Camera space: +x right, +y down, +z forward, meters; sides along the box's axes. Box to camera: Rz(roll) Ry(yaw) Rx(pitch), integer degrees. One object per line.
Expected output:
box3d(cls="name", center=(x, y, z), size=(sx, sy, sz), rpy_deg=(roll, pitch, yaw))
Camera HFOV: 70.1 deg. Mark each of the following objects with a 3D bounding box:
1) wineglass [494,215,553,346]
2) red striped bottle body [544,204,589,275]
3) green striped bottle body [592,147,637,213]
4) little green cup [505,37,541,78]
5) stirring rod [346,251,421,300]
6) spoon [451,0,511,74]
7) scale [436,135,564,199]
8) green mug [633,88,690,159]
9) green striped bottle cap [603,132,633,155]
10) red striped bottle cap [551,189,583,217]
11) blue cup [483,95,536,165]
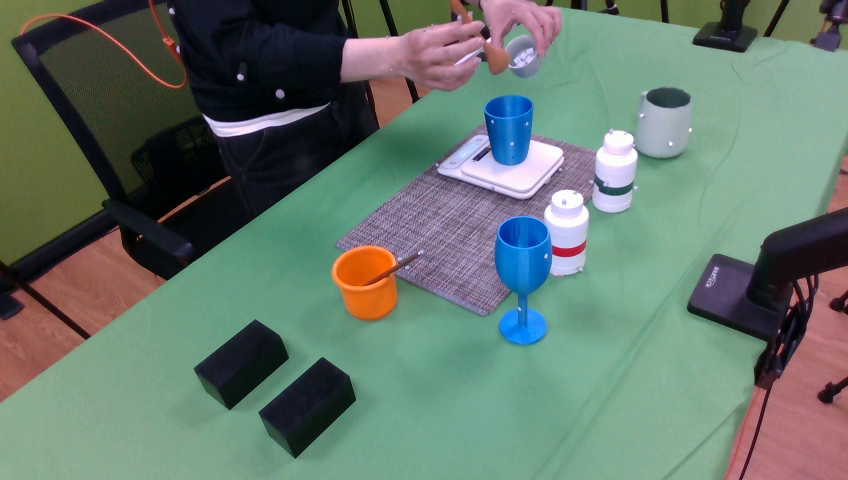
box3d(cls="wineglass", center=(0.127, 0.055, 0.770), size=(0.074, 0.173, 0.073), rpy_deg=(-4, 40, 4))
box3d(cls="red striped bottle body", center=(0.206, -0.011, 0.877), size=(0.063, 0.120, 0.062), rpy_deg=(-5, 41, 4))
box3d(cls="green striped bottle body", center=(0.307, -0.107, 0.976), size=(0.063, 0.120, 0.063), rpy_deg=(-5, 41, 4))
box3d(cls="little green cup", center=(0.165, -0.302, 1.009), size=(0.061, 0.039, 0.061), rpy_deg=(-9, 69, 26))
box3d(cls="stirring rod", center=(-0.059, 0.051, 0.829), size=(0.175, 0.006, 0.014), rpy_deg=(-32, 18, 44))
box3d(cls="spoon", center=(0.083, -0.298, 0.889), size=(0.041, 0.195, 0.021), rpy_deg=(-45, 56, 13))
box3d(cls="scale", center=(0.137, -0.142, 1.101), size=(0.199, 0.032, 0.149), rpy_deg=(22, 48, 30))
box3d(cls="green mug", center=(0.423, -0.217, 1.099), size=(0.093, 0.105, 0.124), rpy_deg=(-16, 41, -9))
box3d(cls="green striped bottle cap", center=(0.301, -0.149, 0.938), size=(0.044, 0.020, 0.044), rpy_deg=(-3, 39, 3))
box3d(cls="red striped bottle cap", center=(0.199, -0.052, 0.843), size=(0.044, 0.018, 0.044), rpy_deg=(-2, 42, 2))
box3d(cls="blue cup", center=(0.149, -0.188, 1.053), size=(0.092, 0.100, 0.092), rpy_deg=(-5, 39, 5))
